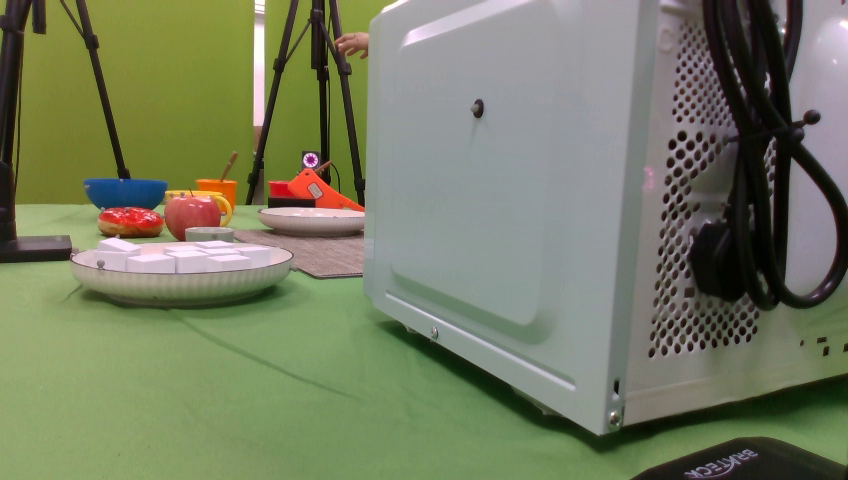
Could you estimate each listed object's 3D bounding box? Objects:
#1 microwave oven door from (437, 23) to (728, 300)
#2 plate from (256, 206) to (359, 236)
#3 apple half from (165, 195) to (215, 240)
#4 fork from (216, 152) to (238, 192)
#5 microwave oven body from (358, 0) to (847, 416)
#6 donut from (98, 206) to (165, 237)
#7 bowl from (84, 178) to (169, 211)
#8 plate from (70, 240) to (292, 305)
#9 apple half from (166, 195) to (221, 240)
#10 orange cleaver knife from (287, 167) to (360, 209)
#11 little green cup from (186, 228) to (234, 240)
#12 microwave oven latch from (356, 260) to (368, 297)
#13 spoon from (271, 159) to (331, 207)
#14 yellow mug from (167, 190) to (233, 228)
[{"bbox_3d":[0.180,-0.072,0.621,0.358,0.243,0.039,-2,8,-29],"label":"microwave oven door"},{"bbox_3d":[-0.202,-0.037,1.120,0.209,0.038,0.209,2,8,0],"label":"plate"},{"bbox_3d":[-0.377,-0.038,0.964,0.082,0.081,0.032,-4,14,-39],"label":"apple half"},{"bbox_3d":[-0.455,-0.132,1.366,0.028,0.018,0.207,-2,-35,-37],"label":"fork"},{"bbox_3d":[0.211,-0.047,0.475,0.444,0.260,0.324,-1,8,-28],"label":"microwave oven body"},{"bbox_3d":[-0.472,-0.028,0.979,0.099,0.048,0.099,5,8,0],"label":"donut"},{"bbox_3d":[-0.584,-0.078,1.194,0.151,0.077,0.151,3,8,0],"label":"bowl"},{"bbox_3d":[-0.242,0.031,0.618,0.208,0.039,0.207,2,8,0],"label":"plate"},{"bbox_3d":[-0.352,-0.031,0.935,0.081,0.074,0.053,1,11,-40],"label":"apple half"},{"bbox_3d":[-0.209,-0.089,1.383,0.212,0.077,0.012,31,4,-15],"label":"orange cleaver knife"},{"bbox_3d":[-0.284,0.005,0.805,0.061,0.038,0.061,2,8,0],"label":"little green cup"},{"bbox_3d":[-0.020,0.033,0.530,0.079,0.029,0.030,0,7,-26],"label":"microwave oven latch"},{"bbox_3d":[-0.307,-0.141,1.513,0.193,0.021,0.041,-42,3,8],"label":"spoon"},{"bbox_3d":[-0.415,-0.057,1.132,0.130,0.064,0.100,6,8,16],"label":"yellow mug"}]
